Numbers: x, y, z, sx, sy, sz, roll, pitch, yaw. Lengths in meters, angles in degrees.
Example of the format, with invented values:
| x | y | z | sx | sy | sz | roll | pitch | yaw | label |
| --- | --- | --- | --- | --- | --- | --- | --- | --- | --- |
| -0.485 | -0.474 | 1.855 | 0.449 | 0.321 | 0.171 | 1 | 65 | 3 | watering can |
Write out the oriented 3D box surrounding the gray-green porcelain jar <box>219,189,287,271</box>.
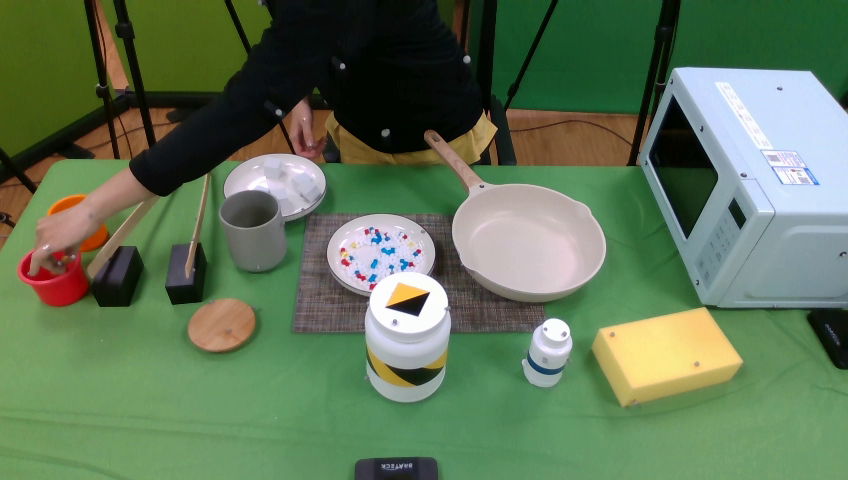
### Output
| x | y | z | sx | sy | sz | roll | pitch | yaw | label |
| --- | --- | --- | --- | --- | --- | --- | --- | --- | --- |
| -0.310 | -0.014 | 1.114 | 0.106 | 0.127 | 0.105 | 2 | 46 | -2 | gray-green porcelain jar |

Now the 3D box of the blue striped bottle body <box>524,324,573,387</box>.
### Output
| x | y | z | sx | sy | sz | roll | pitch | yaw | label |
| --- | --- | --- | --- | --- | --- | --- | --- | --- | --- |
| 0.200 | 0.178 | 0.970 | 0.063 | 0.121 | 0.062 | 2 | 46 | -2 | blue striped bottle body |

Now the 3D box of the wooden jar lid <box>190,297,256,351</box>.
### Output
| x | y | z | sx | sy | sz | roll | pitch | yaw | label |
| --- | --- | --- | --- | --- | --- | --- | --- | --- | --- |
| -0.342 | 0.145 | 1.033 | 0.108 | 0.021 | 0.107 | 2 | 45 | -2 | wooden jar lid |

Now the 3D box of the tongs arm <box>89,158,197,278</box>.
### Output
| x | y | z | sx | sy | sz | roll | pitch | yaw | label |
| --- | --- | --- | --- | --- | --- | --- | --- | --- | --- |
| -0.530 | -0.058 | 1.163 | 0.028 | 0.028 | 0.385 | 1 | 36 | 8 | tongs arm |

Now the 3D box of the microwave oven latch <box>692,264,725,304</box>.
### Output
| x | y | z | sx | sy | sz | roll | pitch | yaw | label |
| --- | --- | --- | --- | --- | --- | --- | --- | --- | --- |
| 0.522 | 0.081 | 1.116 | 0.030 | 0.029 | 0.078 | 1 | 46 | -2 | microwave oven latch |

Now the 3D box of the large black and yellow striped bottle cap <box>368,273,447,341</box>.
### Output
| x | y | z | sx | sy | sz | roll | pitch | yaw | label |
| --- | --- | --- | --- | --- | --- | --- | --- | --- | --- |
| -0.023 | 0.094 | 0.875 | 0.115 | 0.019 | 0.114 | 2 | 45 | -2 | large black and yellow striped bottle cap |

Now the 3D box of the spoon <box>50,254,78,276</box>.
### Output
| x | y | z | sx | sy | sz | roll | pitch | yaw | label |
| --- | --- | --- | --- | --- | --- | --- | --- | --- | --- |
| -0.601 | 0.040 | 1.014 | 0.042 | 0.193 | 0.021 | 7 | 74 | -30 | spoon |

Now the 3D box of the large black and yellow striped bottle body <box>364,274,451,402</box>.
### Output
| x | y | z | sx | sy | sz | roll | pitch | yaw | label |
| --- | --- | --- | --- | --- | --- | --- | --- | --- | --- |
| -0.026 | 0.151 | 0.937 | 0.131 | 0.185 | 0.130 | 2 | 47 | -2 | large black and yellow striped bottle body |

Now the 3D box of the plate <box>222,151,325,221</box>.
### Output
| x | y | z | sx | sy | sz | roll | pitch | yaw | label |
| --- | --- | --- | --- | --- | --- | --- | --- | --- | --- |
| -0.310 | -0.106 | 1.263 | 0.208 | 0.039 | 0.206 | 2 | 47 | -2 | plate |

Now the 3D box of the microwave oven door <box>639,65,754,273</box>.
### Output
| x | y | z | sx | sy | sz | roll | pitch | yaw | label |
| --- | --- | --- | --- | --- | --- | --- | --- | --- | --- |
| 0.522 | -0.147 | 1.193 | 0.039 | 0.245 | 0.353 | 1 | 47 | -3 | microwave oven door |

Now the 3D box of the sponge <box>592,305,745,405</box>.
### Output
| x | y | z | sx | sy | sz | roll | pitch | yaw | label |
| --- | --- | --- | --- | --- | --- | --- | --- | --- | --- |
| 0.405 | 0.190 | 1.014 | 0.207 | 0.061 | 0.117 | -10 | 48 | -12 | sponge |

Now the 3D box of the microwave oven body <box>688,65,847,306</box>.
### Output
| x | y | z | sx | sy | sz | roll | pitch | yaw | label |
| --- | --- | --- | --- | --- | --- | --- | --- | --- | --- |
| 0.669 | -0.111 | 1.176 | 0.326 | 0.261 | 0.439 | 0 | 46 | -3 | microwave oven body |

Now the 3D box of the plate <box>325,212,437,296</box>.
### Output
| x | y | z | sx | sy | sz | roll | pitch | yaw | label |
| --- | --- | --- | --- | --- | --- | --- | --- | --- | --- |
| -0.080 | 0.030 | 1.143 | 0.209 | 0.038 | 0.208 | 3 | 46 | -2 | plate |

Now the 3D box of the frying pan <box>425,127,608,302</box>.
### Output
| x | y | z | sx | sy | sz | roll | pitch | yaw | label |
| --- | --- | --- | --- | --- | --- | --- | --- | --- | --- |
| 0.143 | -0.069 | 1.208 | 0.307 | 0.103 | 0.485 | -23 | 60 | -24 | frying pan |

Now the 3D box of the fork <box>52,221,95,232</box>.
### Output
| x | y | z | sx | sy | sz | roll | pitch | yaw | label |
| --- | --- | --- | --- | --- | --- | --- | --- | --- | --- |
| -0.627 | -0.025 | 1.086 | 0.028 | 0.207 | 0.018 | 5 | 91 | -15 | fork |

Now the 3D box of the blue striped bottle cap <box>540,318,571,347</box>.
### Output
| x | y | z | sx | sy | sz | roll | pitch | yaw | label |
| --- | --- | --- | --- | --- | --- | --- | --- | --- | --- |
| 0.203 | 0.142 | 0.933 | 0.044 | 0.021 | 0.044 | 3 | 49 | -3 | blue striped bottle cap |

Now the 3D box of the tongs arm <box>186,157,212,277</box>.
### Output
| x | y | z | sx | sy | sz | roll | pitch | yaw | label |
| --- | --- | --- | --- | --- | --- | --- | --- | --- | --- |
| -0.445 | -0.058 | 1.168 | 0.051 | 0.026 | 0.382 | -5 | 37 | -6 | tongs arm |
